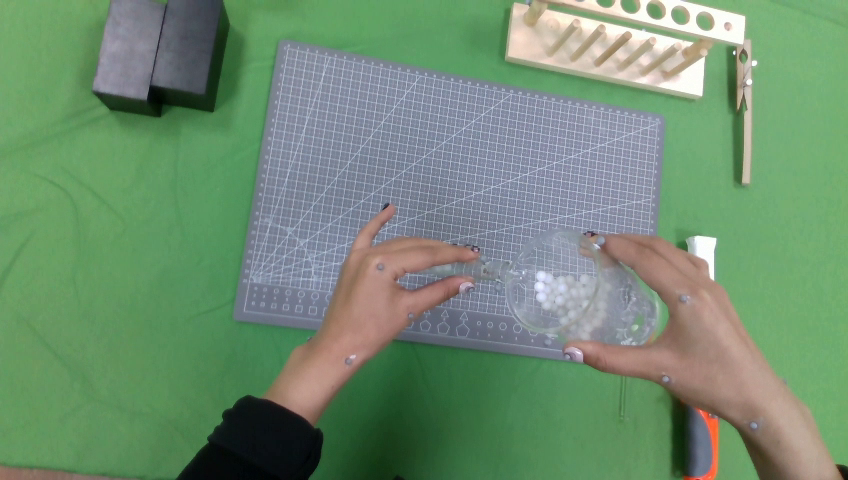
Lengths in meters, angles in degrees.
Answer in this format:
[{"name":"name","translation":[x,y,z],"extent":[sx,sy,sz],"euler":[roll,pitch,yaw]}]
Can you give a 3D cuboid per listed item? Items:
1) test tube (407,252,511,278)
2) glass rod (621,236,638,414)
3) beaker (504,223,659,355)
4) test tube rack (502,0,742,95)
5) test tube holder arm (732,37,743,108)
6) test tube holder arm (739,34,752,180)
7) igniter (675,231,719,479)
[{"name":"test tube","translation":[0.024,0.020,0.511],"extent":[0.017,0.149,0.017],"euler":[-1,91,-29]},{"name":"glass rod","translation":[0.230,0.093,0.679],"extent":[0.008,0.008,0.199],"euler":[8,82,-9]},{"name":"beaker","translation":[0.115,0.039,0.438],"extent":[0.101,0.083,0.074],"euler":[27,81,-40]},{"name":"test tube rack","translation":[0.218,-0.230,0.678],"extent":[0.243,0.085,0.066],"euler":[8,82,-9]},{"name":"test tube holder arm","translation":[0.384,-0.206,0.740],"extent":[0.010,0.015,0.087],"euler":[-2,83,26]},{"name":"test tube holder arm","translation":[0.389,-0.161,0.733],"extent":[0.013,0.015,0.178],"euler":[-3,83,26]},{"name":"igniter","translation":[0.308,0.127,0.683],"extent":[0.057,0.025,0.275],"euler":[6,82,-19]}]
